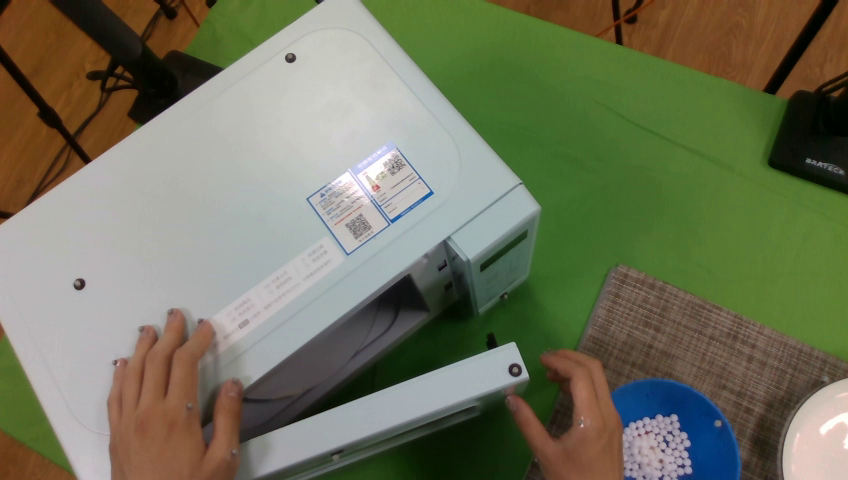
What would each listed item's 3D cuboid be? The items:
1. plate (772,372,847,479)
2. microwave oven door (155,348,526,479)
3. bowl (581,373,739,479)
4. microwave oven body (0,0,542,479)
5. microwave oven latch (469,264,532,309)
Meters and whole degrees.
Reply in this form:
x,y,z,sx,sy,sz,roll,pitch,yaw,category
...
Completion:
x,y,z,sx,sy,sz,roll,pitch,yaw,category
0.466,0.241,0.624,0.207,0.039,0.206,-2,73,6,plate
-0.078,0.185,0.581,0.356,0.245,0.039,-20,72,0,microwave oven door
0.237,0.220,0.636,0.151,0.077,0.150,-2,72,6,bowl
-0.151,0.013,0.649,0.441,0.262,0.324,-37,73,-5,microwave oven body
0.090,0.047,0.713,0.079,0.030,0.030,-35,72,-4,microwave oven latch
